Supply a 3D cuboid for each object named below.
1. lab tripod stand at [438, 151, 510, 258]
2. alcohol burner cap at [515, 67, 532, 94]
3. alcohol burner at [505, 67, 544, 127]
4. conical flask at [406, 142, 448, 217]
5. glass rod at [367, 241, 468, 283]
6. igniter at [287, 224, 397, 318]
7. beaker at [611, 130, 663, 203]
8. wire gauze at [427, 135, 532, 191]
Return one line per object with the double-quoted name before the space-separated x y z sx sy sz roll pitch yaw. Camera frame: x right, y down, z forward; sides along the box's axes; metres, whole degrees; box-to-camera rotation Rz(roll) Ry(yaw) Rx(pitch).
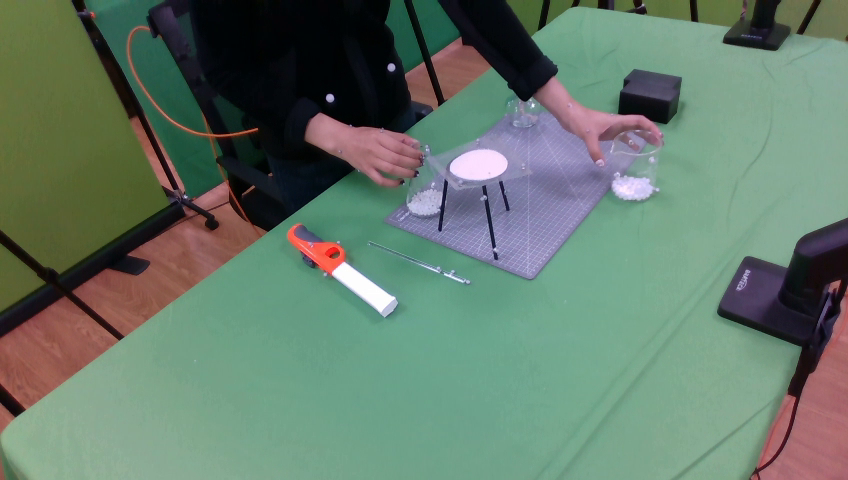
"lab tripod stand" 0.087 -0.064 0.952 0.148 0.132 0.147 -6 38 5
"alcohol burner cap" 0.197 -0.315 1.187 0.034 0.048 0.033 -2 46 3
"alcohol burner" 0.201 -0.288 1.211 0.078 0.119 0.077 -6 38 5
"conical flask" -0.001 -0.105 1.022 0.075 0.122 0.075 -5 39 5
"glass rod" -0.015 0.032 0.960 0.198 0.008 0.008 21 49 30
"igniter" -0.139 0.042 0.958 0.057 0.025 0.274 -42 49 -19
"beaker" 0.346 -0.118 0.998 0.084 0.101 0.073 -17 40 -7
"wire gauze" 0.081 -0.115 0.909 0.125 0.011 0.120 -18 39 -11
